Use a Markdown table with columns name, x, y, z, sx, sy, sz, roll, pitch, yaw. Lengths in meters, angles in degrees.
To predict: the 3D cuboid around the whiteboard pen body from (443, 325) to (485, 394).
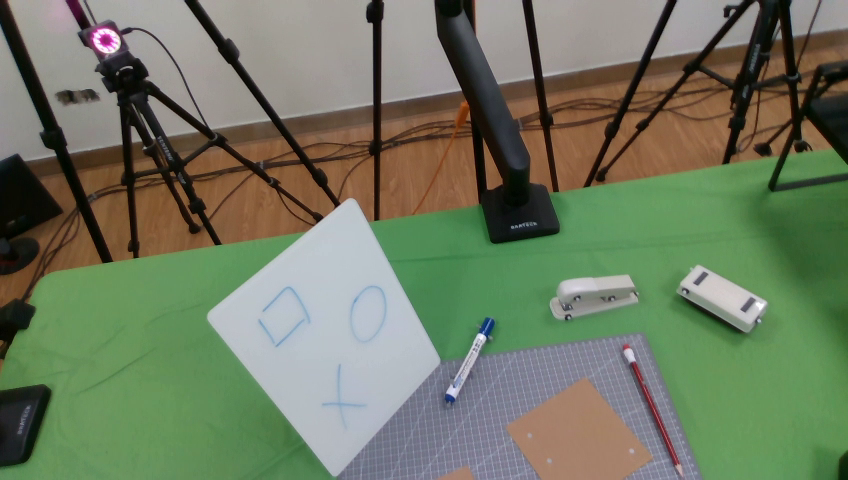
| name | x | y | z | sx | sy | sz | roll | pitch | yaw |
| --- | --- | --- | --- | --- | --- | --- | --- | --- | --- |
| whiteboard pen body | 0.063 | 0.161 | 0.875 | 0.017 | 0.017 | 0.140 | 18 | 54 | 22 |

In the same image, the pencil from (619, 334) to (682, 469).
| name | x | y | z | sx | sy | sz | roll | pitch | yaw |
| --- | --- | --- | --- | --- | --- | --- | --- | --- | --- |
| pencil | 0.300 | 0.209 | 0.804 | 0.012 | 0.012 | 0.192 | -12 | 51 | -2 |

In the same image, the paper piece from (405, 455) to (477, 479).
| name | x | y | z | sx | sy | sz | roll | pitch | yaw |
| --- | --- | --- | --- | --- | --- | --- | --- | --- | --- |
| paper piece | 0.016 | 0.344 | 0.731 | 0.135 | 0.004 | 0.134 | -20 | 51 | -9 |

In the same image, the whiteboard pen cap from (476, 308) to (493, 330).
| name | x | y | z | sx | sy | sz | roll | pitch | yaw |
| --- | --- | --- | --- | --- | --- | --- | --- | --- | --- |
| whiteboard pen cap | 0.091 | 0.120 | 0.905 | 0.018 | 0.018 | 0.033 | 16 | 54 | 21 |

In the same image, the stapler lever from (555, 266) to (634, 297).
| name | x | y | z | sx | sy | sz | roll | pitch | yaw |
| --- | --- | --- | --- | --- | --- | --- | --- | --- | --- |
| stapler lever | 0.254 | 0.058 | 0.903 | 0.118 | 0.040 | 0.026 | -13 | 52 | -4 |

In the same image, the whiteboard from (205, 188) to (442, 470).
| name | x | y | z | sx | sy | sz | roll | pitch | yaw |
| --- | --- | --- | --- | --- | --- | --- | --- | --- | --- |
| whiteboard | -0.144 | 0.105 | 0.804 | 0.217 | 0.308 | 0.142 | -43 | 36 | -25 |

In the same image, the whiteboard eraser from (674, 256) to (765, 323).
| name | x | y | z | sx | sy | sz | roll | pitch | yaw |
| --- | --- | --- | --- | --- | --- | --- | --- | --- | --- |
| whiteboard eraser | 0.429 | 0.073 | 0.884 | 0.111 | 0.042 | 0.055 | 35 | 64 | 31 |

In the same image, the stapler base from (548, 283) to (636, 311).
| name | x | y | z | sx | sy | sz | roll | pitch | yaw |
| --- | --- | --- | --- | --- | --- | --- | --- | --- | --- |
| stapler base | 0.256 | 0.074 | 0.921 | 0.131 | 0.024 | 0.041 | -12 | 52 | -5 |

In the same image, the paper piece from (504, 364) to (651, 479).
| name | x | y | z | sx | sy | sz | roll | pitch | yaw |
| --- | --- | --- | --- | --- | --- | --- | --- | --- | --- |
| paper piece | 0.196 | 0.248 | 0.788 | 0.136 | 0.009 | 0.136 | -29 | 54 | -11 |
